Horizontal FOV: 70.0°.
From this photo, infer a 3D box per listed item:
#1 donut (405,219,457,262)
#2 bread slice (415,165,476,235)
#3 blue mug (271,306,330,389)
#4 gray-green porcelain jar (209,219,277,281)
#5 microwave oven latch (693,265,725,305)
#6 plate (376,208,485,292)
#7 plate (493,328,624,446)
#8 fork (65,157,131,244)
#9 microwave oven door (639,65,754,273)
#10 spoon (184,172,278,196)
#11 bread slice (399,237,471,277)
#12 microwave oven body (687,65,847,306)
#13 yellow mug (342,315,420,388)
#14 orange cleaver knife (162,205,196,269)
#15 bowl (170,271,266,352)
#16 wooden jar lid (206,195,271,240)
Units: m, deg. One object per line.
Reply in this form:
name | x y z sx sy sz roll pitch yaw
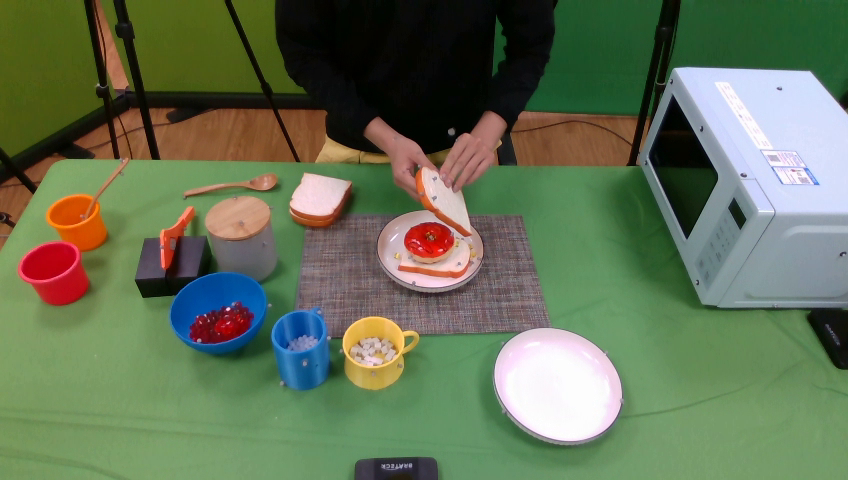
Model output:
donut | 0.012 0.000 1.140 0.099 0.048 0.098 0 44 0
bread slice | 0.036 -0.071 1.049 0.135 0.018 0.106 25 42 -46
blue mug | -0.188 0.163 0.969 0.082 0.106 0.116 15 47 10
gray-green porcelain jar | -0.323 0.007 1.092 0.106 0.127 0.105 2 46 -2
microwave oven latch | 0.522 0.081 1.115 0.030 0.029 0.078 2 46 -1
plate | 0.012 0.021 1.158 0.209 0.038 0.208 2 47 -2
plate | 0.213 0.236 0.974 0.208 0.039 0.206 2 46 -2
fork | -0.608 -0.074 1.132 0.207 0.019 0.028 -52 48 10
microwave oven door | 0.522 -0.147 1.193 0.039 0.245 0.353 0 47 -3
spoon | -0.405 -0.116 1.275 0.194 0.022 0.041 -8 66 -12
bread slice | 0.025 0.025 1.160 0.131 0.019 0.104 7 47 6
microwave oven body | 0.669 -0.111 1.176 0.326 0.261 0.439 0 46 -3
yellow mug | -0.068 0.177 0.990 0.131 0.064 0.099 -16 50 -19
orange cleaver knife | -0.454 -0.010 1.129 0.012 0.077 0.210 -1 20 -5
bowl | -0.334 0.132 1.006 0.151 0.077 0.150 2 46 -2
wooden jar lid | -0.319 -0.036 1.046 0.108 0.021 0.107 1 44 0
